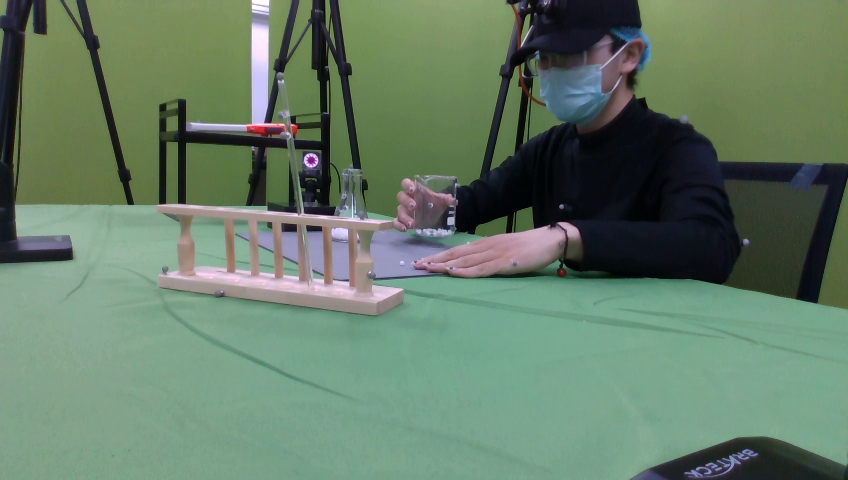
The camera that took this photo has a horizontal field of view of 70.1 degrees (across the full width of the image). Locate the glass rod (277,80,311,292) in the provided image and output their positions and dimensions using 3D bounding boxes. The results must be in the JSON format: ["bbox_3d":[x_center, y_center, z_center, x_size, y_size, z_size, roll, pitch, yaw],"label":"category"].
[{"bbox_3d":[-0.120,-0.046,0.558,0.008,0.199,0.008,-6,8,1],"label":"glass rod"}]

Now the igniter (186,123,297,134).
[{"bbox_3d":[-0.392,-0.248,1.341,0.057,0.025,0.278,9,14,38],"label":"igniter"}]

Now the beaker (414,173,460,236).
[{"bbox_3d":[0.018,-0.058,0.992,0.074,0.100,0.084,5,8,24],"label":"beaker"}]

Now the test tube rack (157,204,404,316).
[{"bbox_3d":[-0.143,0.013,0.599,0.242,0.085,0.067,5,8,19],"label":"test tube rack"}]

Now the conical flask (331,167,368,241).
[{"bbox_3d":[-0.123,-0.061,1.019,0.075,0.122,0.075,2,7,0],"label":"conical flask"}]
